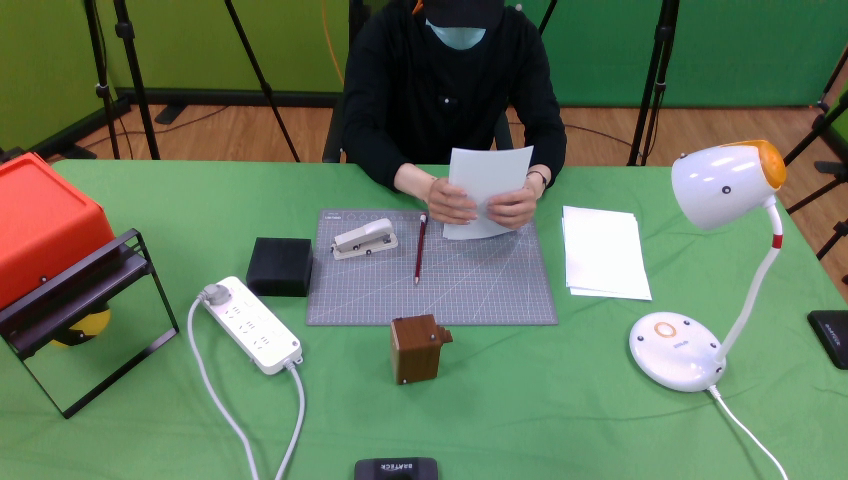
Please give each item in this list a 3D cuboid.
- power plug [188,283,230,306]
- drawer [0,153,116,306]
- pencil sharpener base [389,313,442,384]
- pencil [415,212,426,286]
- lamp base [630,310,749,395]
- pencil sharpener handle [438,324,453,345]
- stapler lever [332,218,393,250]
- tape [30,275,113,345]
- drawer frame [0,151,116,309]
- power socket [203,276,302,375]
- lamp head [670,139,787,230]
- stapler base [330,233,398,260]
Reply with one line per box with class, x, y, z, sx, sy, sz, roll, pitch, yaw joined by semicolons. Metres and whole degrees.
power plug;-0.368;0.099;1.037;0.072;0.053;0.035;-24;52;-26
drawer;-0.601;-0.015;0.880;0.193;0.073;0.211;32;53;23
pencil sharpener base;-0.013;0.175;0.971;0.077;0.107;0.061;-8;47;-11
pencil;-0.008;0.014;1.190;0.012;0.012;0.193;5;48;0
lamp base;0.447;0.143;0.984;0.161;0.181;0.178;-24;55;-24
pencil sharpener handle;0.036;0.155;0.976;0.031;0.068;0.036;-8;69;-11
stapler lever;-0.116;-0.012;1.162;0.118;0.040;0.026;-13;47;-15
tape;-0.593;0.117;1.021;0.117;0.053;0.116;2;46;-2
drawer frame;-0.604;-0.013;0.876;0.201;0.083;0.213;31;52;23
power socket;-0.297;0.141;1.034;0.072;0.033;0.225;-34;58;-30
lamp head;0.415;-0.079;0.812;0.113;0.123;0.112;12;70;-37
stapler base;-0.116;0.004;1.181;0.131;0.024;0.041;-13;47;-14
